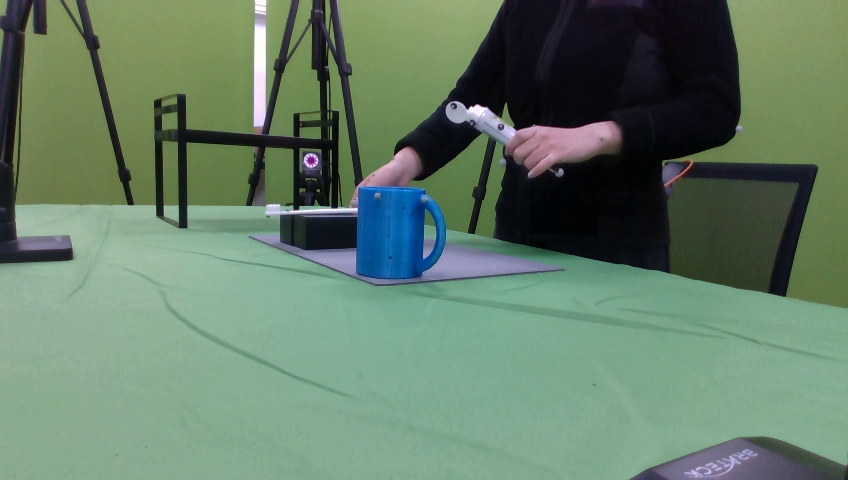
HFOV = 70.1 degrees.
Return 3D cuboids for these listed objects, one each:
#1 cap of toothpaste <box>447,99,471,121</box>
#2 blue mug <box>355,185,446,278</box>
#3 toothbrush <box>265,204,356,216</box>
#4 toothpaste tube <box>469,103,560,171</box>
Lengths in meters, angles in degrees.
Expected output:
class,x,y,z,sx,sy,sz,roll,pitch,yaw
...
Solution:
class,x,y,z,sx,sy,sz,roll,pitch,yaw
cap of toothpaste,0.052,-0.194,0.899,0.037,0.037,0.011,5,43,25
blue mug,-0.027,-0.011,0.723,0.116,0.106,0.083,6,9,27
toothbrush,-0.160,-0.048,0.937,0.183,0.016,0.014,-4,3,-39
toothpaste tube,0.134,-0.154,0.904,0.165,0.034,0.055,34,26,4
